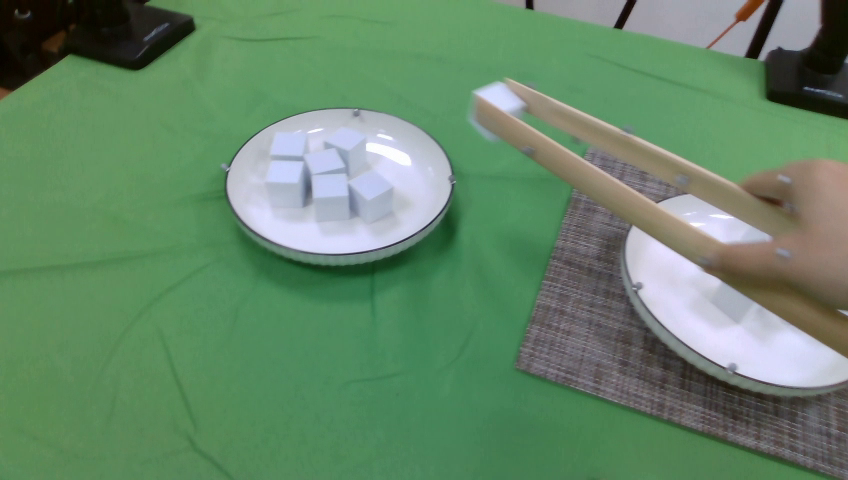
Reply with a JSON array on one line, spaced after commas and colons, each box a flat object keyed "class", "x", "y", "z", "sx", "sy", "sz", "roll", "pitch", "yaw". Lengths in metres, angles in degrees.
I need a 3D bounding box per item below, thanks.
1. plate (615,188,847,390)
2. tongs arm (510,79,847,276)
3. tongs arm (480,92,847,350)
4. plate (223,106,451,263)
[{"class": "plate", "x": 0.262, "y": 0.037, "z": 0.509, "sx": 0.208, "sy": 0.039, "sz": 0.205, "roll": 2, "pitch": 47, "yaw": -2}, {"class": "tongs arm", "x": 0.189, "y": -0.023, "z": 0.402, "sx": 0.051, "sy": 0.027, "sz": 0.381, "roll": -34, "pitch": 52, "yaw": -29}, {"class": "tongs arm", "x": 0.171, "y": -0.012, "z": 0.392, "sx": 0.028, "sy": 0.028, "sz": 0.383, "roll": -28, "pitch": 50, "yaw": -29}, {"class": "plate", "x": -0.079, "y": -0.053, "z": 0.572, "sx": 0.209, "sy": 0.038, "sz": 0.207, "roll": 3, "pitch": 47, "yaw": -2}]
